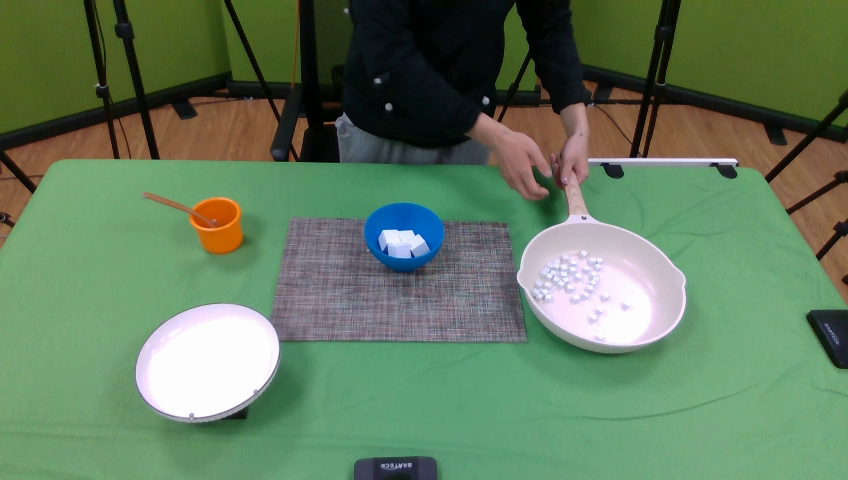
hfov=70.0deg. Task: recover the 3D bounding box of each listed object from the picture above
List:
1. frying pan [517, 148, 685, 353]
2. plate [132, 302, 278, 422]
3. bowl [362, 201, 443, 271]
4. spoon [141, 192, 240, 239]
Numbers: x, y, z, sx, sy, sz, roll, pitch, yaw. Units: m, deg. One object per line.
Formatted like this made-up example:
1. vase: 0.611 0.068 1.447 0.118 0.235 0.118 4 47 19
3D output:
1. frying pan: 0.310 0.002 1.163 0.307 0.103 0.484 0 55 -5
2. plate: -0.325 0.186 0.916 0.208 0.039 0.206 3 44 -2
3. bowl: -0.041 0.006 1.145 0.151 0.077 0.150 2 46 -2
4. spoon: -0.428 -0.048 1.123 0.021 0.195 0.041 -38 44 21
